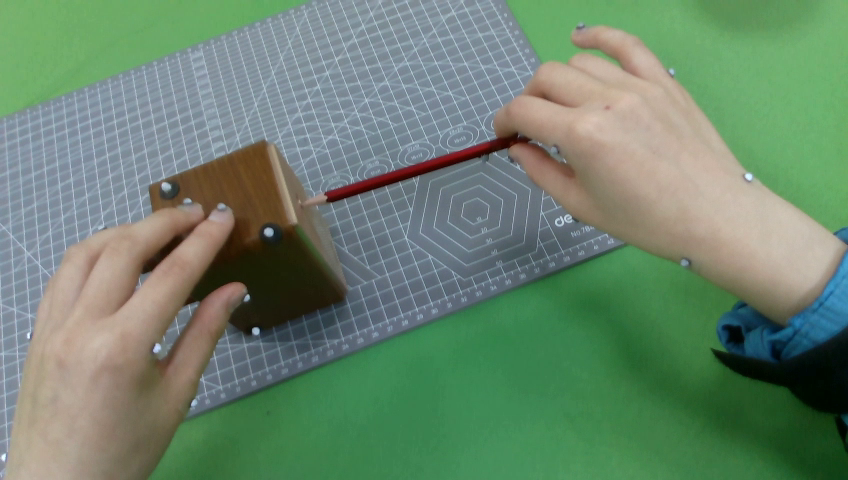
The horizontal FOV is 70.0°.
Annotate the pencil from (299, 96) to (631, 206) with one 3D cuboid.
[{"bbox_3d":[0.021,-0.047,0.334,0.194,0.012,0.012,-17,64,-2],"label":"pencil"}]

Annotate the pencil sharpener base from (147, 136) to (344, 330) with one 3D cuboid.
[{"bbox_3d":[-0.100,0.002,0.355,0.077,0.108,0.061,-21,64,-1],"label":"pencil sharpener base"}]

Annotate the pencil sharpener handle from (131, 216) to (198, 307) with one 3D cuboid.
[{"bbox_3d":[-0.149,0.017,0.341,0.030,0.068,0.035,-21,57,-1],"label":"pencil sharpener handle"}]
